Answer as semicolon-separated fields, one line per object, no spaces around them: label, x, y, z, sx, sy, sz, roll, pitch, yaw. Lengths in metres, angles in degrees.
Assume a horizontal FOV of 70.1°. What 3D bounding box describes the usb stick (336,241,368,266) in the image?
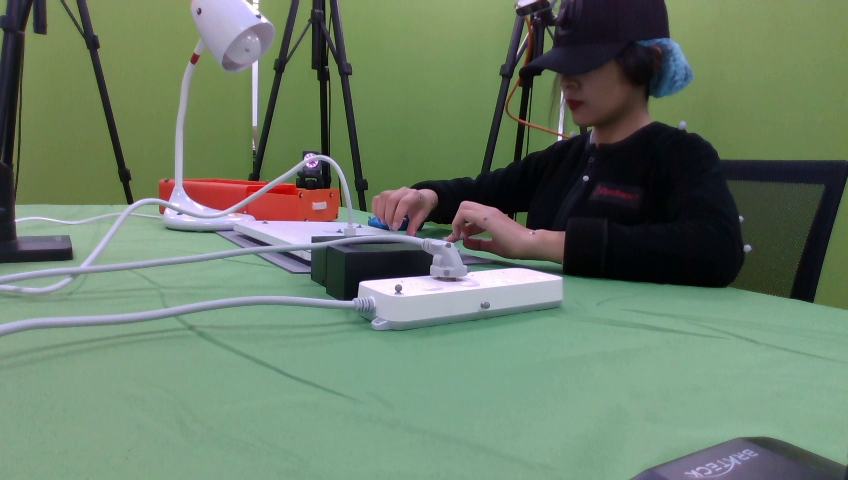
usb stick;-0.093;0.016;0.748;0.021;0.027;0.059;-4;5;-36

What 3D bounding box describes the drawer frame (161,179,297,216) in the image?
drawer frame;-0.421;-0.089;1.329;0.213;0.082;0.202;4;8;16

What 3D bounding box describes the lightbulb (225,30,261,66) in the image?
lightbulb;-0.317;-0.335;1.001;0.107;0.059;0.059;45;15;6

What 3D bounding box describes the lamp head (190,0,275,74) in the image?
lamp head;-0.330;-0.355;1.008;0.123;0.112;0.112;43;15;6

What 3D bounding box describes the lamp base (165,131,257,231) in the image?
lamp base;-0.407;-0.111;1.119;0.179;0.180;0.161;-1;7;7

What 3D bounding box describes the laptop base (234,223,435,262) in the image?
laptop base;-0.135;0.002;0.949;0.237;0.023;0.352;1;6;-33

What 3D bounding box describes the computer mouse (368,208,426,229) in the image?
computer mouse;-0.057;-0.044;1.267;0.118;0.041;0.062;-6;12;-28

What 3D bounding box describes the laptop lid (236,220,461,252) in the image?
laptop lid;-0.133;-0.010;0.948;0.243;0.013;0.355;0;7;-32

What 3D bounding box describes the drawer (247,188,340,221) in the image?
drawer;-0.314;-0.079;1.301;0.211;0.073;0.195;4;8;15

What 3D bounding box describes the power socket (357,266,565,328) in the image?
power socket;0.041;0.049;0.572;0.228;0.032;0.072;-3;8;-35

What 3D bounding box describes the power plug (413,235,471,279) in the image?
power plug;0.017;0.023;0.588;0.035;0.052;0.072;-1;8;-24
